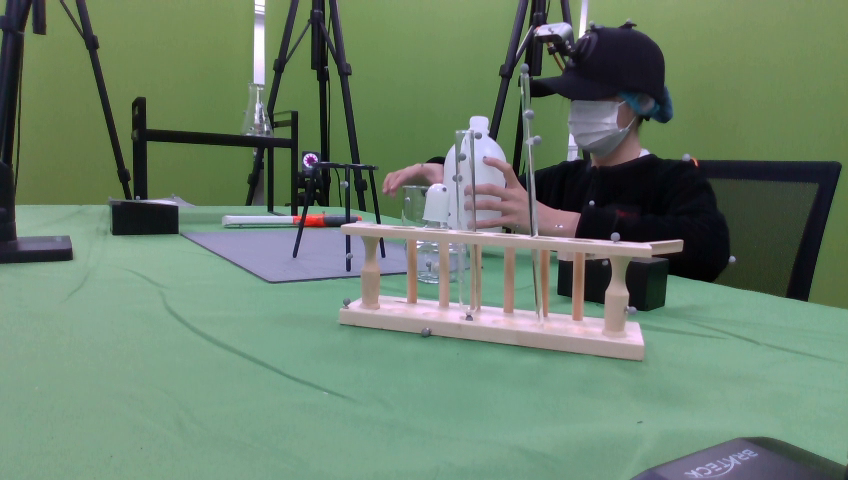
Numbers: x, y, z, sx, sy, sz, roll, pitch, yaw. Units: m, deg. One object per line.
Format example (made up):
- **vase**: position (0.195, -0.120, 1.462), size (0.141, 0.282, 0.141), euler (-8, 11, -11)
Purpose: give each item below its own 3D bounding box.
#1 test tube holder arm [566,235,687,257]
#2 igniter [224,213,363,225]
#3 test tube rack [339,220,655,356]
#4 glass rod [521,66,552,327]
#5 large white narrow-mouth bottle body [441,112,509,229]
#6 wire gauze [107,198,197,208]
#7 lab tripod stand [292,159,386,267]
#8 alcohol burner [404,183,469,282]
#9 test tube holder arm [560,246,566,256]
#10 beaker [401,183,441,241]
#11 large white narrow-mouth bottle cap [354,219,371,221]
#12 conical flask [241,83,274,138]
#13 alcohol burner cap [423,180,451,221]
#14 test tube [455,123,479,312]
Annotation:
- **test tube holder arm**: position (0.215, 0.006, 0.629), size (0.179, 0.015, 0.013), euler (-3, 9, -30)
- **igniter**: position (-0.255, -0.041, 1.210), size (0.278, 0.025, 0.057), euler (-2, -2, -31)
- **test tube rack**: position (0.056, 0.032, 0.495), size (0.242, 0.085, 0.067), euler (4, 7, 15)
- **glass rod**: position (0.085, -0.028, 0.454), size (0.008, 0.199, 0.008), euler (-7, 10, 2)
- **large white narrow-mouth bottle body**: position (0.082, -0.103, 0.951), size (0.102, 0.194, 0.102), euler (4, 0, 0)
- **wire gauze**: position (-0.462, -0.064, 1.023), size (0.126, 0.011, 0.121), euler (-2, 7, -32)
- **lab tripod stand**: position (-0.105, -0.039, 0.798), size (0.148, 0.131, 0.148), euler (2, 5, 0)
- **alcohol burner**: position (0.015, -0.011, 0.715), size (0.078, 0.119, 0.078), euler (0, 7, 0)
- **test tube holder arm**: position (0.173, 0.007, 0.611), size (0.088, 0.015, 0.010), euler (-3, 9, -30)
- **beaker**: position (0.000, -0.050, 1.073), size (0.083, 0.100, 0.074), euler (6, 9, 25)
- **large white narrow-mouth bottle cap**: position (-0.120, -0.029, 1.184), size (0.038, 0.024, 0.037), euler (2, 8, 0)
- **conical flask**: position (-0.384, -0.297, 1.393), size (0.075, 0.122, 0.075), euler (2, 7, 0)
- **alcohol burner cap**: position (0.017, -0.047, 0.711), size (0.034, 0.048, 0.034), euler (8, 5, 0)
- **test tube**: position (0.034, -0.016, 0.476), size (0.017, 0.150, 0.017), euler (-2, 10, 1)
